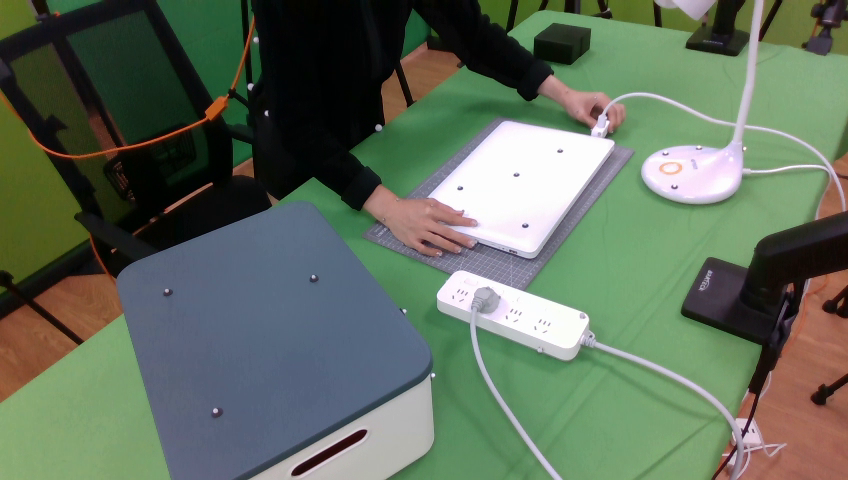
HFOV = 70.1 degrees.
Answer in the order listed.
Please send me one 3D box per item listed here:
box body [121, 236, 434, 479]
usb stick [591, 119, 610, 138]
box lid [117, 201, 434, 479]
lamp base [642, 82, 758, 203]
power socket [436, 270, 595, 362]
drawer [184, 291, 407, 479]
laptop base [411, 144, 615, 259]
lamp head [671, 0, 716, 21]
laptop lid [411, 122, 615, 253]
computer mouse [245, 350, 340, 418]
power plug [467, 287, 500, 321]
[{"bbox_3d":[-0.175,0.142,0.725,0.255,0.161,0.360,-25,43,-20],"label":"box body"},{"bbox_3d":[0.333,-0.204,1.151,0.021,0.027,0.059,22,51,21],"label":"usb stick"},{"bbox_3d":[-0.182,0.087,0.675,0.264,0.015,0.368,-25,42,-20],"label":"box lid"},{"bbox_3d":[0.464,-0.174,0.992,0.179,0.181,0.159,-5,41,-1],"label":"lamp base"},{"bbox_3d":[0.119,0.101,0.832,0.225,0.033,0.072,19,48,27],"label":"power socket"},{"bbox_3d":[-0.155,0.179,0.720,0.195,0.073,0.210,-27,40,-21],"label":"drawer"},{"bbox_3d":[0.167,-0.102,1.075,0.234,0.023,0.355,16,46,30],"label":"laptop base"},{"bbox_3d":[0.375,-0.373,0.807,0.122,0.113,0.112,-40,27,32],"label":"lamp head"},{"bbox_3d":[0.164,-0.111,1.069,0.240,0.013,0.357,19,46,31],"label":"laptop lid"},{"bbox_3d":[-0.165,0.173,0.754,0.118,0.041,0.062,-18,34,-18],"label":"computer mouse"},{"bbox_3d":[0.073,0.092,0.814,0.035,0.053,0.073,29,54,34],"label":"power plug"}]
